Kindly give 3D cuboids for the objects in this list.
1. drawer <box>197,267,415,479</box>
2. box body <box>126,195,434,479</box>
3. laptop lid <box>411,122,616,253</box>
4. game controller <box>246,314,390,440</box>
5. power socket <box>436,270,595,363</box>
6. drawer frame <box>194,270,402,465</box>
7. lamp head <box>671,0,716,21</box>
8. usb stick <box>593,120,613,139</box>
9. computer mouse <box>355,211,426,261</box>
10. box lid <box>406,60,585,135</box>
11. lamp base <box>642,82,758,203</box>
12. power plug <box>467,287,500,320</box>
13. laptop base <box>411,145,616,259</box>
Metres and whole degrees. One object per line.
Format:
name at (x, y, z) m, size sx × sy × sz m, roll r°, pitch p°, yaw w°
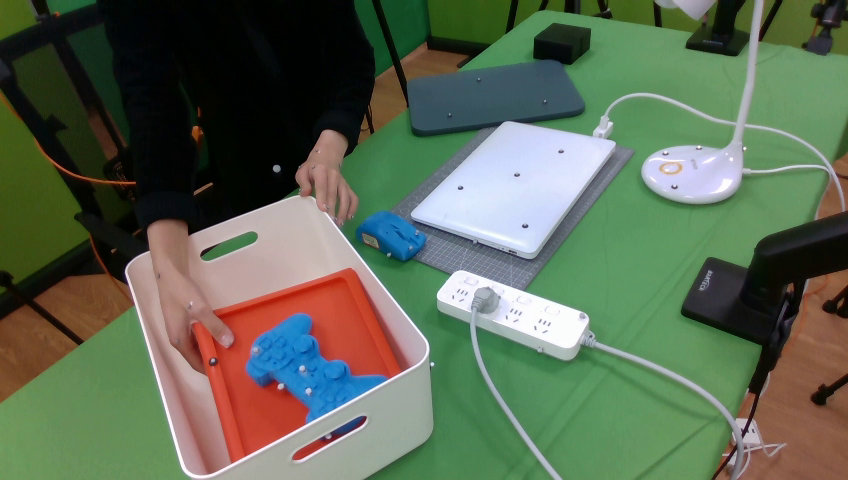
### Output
drawer at (-0.140, 0.154, 0.712) m, size 0.195 × 0.073 × 0.210 m, roll -17°, pitch 54°, yaw -20°
box body at (-0.175, 0.131, 0.737) m, size 0.255 × 0.161 × 0.360 m, roll -25°, pitch 43°, yaw -19°
laptop lid at (0.165, -0.111, 1.067) m, size 0.240 × 0.013 × 0.357 m, roll 19°, pitch 46°, yaw 31°
game controller at (-0.120, 0.143, 0.656) m, size 0.154 × 0.052 × 0.097 m, roll 34°, pitch 60°, yaw 22°
power socket at (0.118, 0.101, 0.832) m, size 0.225 × 0.033 × 0.072 m, roll 19°, pitch 48°, yaw 27°
drawer frame at (-0.140, 0.157, 0.710) m, size 0.203 × 0.083 × 0.212 m, roll -16°, pitch 52°, yaw -21°
lamp head at (0.375, -0.373, 0.807) m, size 0.122 × 0.113 × 0.112 m, roll -40°, pitch 27°, yaw 32°
usb stick at (0.336, -0.201, 1.146) m, size 0.021 × 0.027 × 0.059 m, roll 25°, pitch 52°, yaw 27°
computer mouse at (-0.055, -0.010, 0.979) m, size 0.116 × 0.041 × 0.063 m, roll 27°, pitch 49°, yaw 28°
box lid at (0.150, -0.320, 1.340) m, size 0.372 × 0.015 × 0.261 m, roll -8°, pitch 40°, yaw 0°
lamp base at (0.464, -0.174, 0.992) m, size 0.179 × 0.181 × 0.159 m, roll -5°, pitch 41°, yaw -1°
power plug at (0.073, 0.092, 0.814) m, size 0.035 × 0.053 × 0.073 m, roll 29°, pitch 54°, yaw 34°
laptop base at (0.168, -0.101, 1.073) m, size 0.234 × 0.023 × 0.355 m, roll 17°, pitch 46°, yaw 31°
